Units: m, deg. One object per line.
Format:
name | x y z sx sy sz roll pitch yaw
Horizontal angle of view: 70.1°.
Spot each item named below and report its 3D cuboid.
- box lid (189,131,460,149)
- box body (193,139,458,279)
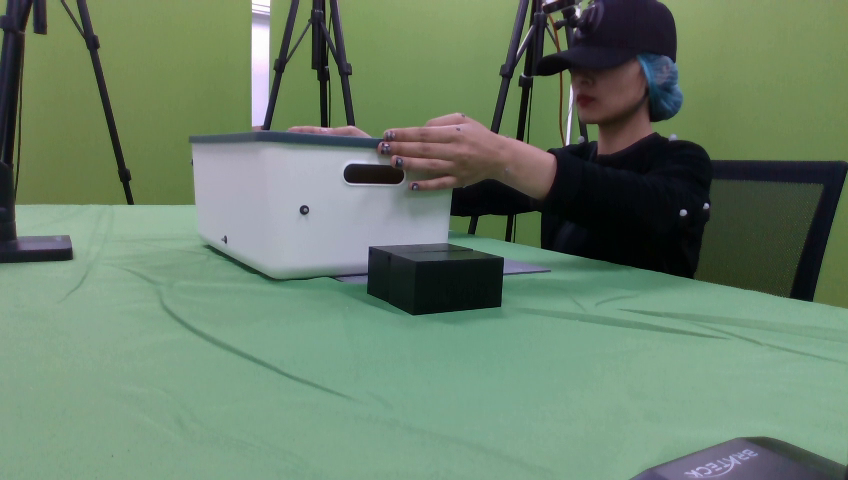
box lid | -0.150 -0.133 0.828 0.265 0.015 0.369 -4 9 -33
box body | -0.154 -0.059 0.840 0.255 0.160 0.362 -2 9 -33
